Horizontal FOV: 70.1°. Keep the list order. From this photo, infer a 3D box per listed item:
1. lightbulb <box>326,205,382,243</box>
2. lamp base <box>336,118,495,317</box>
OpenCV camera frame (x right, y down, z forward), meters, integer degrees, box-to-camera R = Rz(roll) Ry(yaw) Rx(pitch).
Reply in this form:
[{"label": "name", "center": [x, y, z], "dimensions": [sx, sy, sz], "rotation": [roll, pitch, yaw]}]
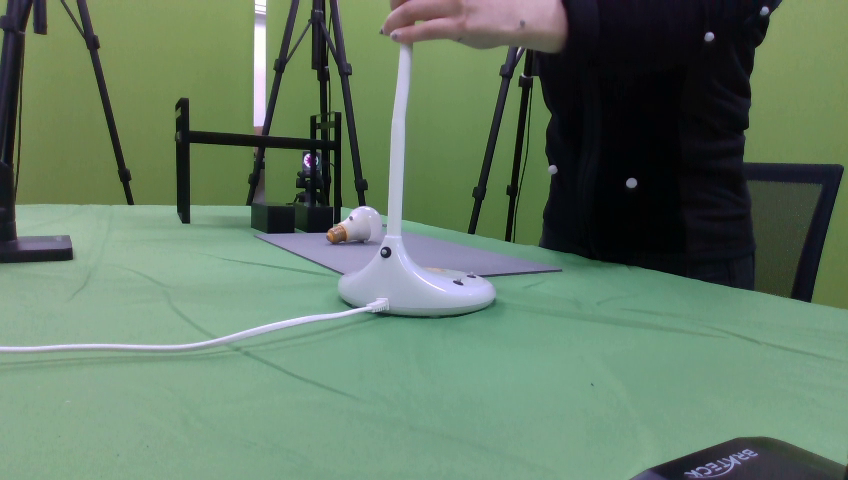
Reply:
[{"label": "lightbulb", "center": [-0.117, -0.021, 0.999], "dimensions": [0.059, 0.059, 0.108], "rotation": [10, 25, 43]}, {"label": "lamp base", "center": [-0.009, -0.026, 0.588], "dimensions": [0.160, 0.180, 0.179], "rotation": [4, 10, 14]}]
